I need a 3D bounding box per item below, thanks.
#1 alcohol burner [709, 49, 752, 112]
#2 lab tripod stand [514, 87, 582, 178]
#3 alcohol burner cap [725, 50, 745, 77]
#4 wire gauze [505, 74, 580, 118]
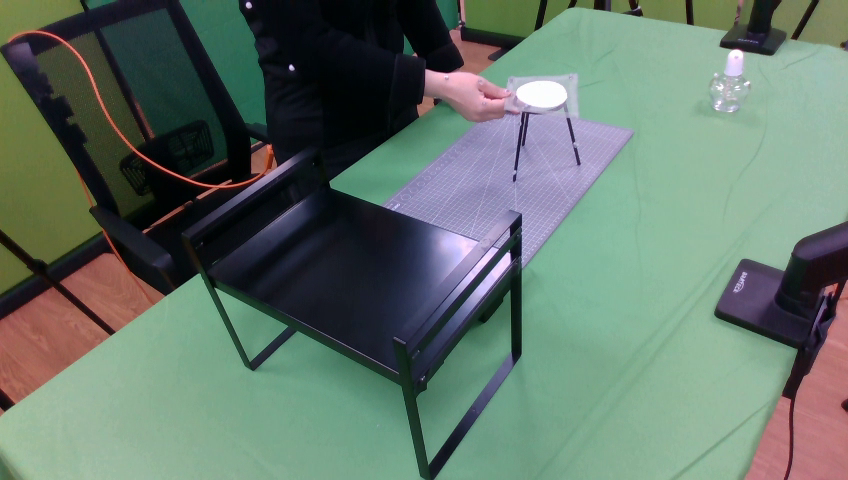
[{"bbox_3d":[0.600,-0.313,1.179,0.078,0.119,0.077,-6,40,5],"label":"alcohol burner"},{"bbox_3d":[0.212,-0.196,1.083,0.148,0.132,0.147,-3,39,3],"label":"lab tripod stand"},{"bbox_3d":[0.596,-0.340,1.154,0.034,0.048,0.033,-8,45,8],"label":"alcohol burner cap"},{"bbox_3d":[0.203,-0.249,1.029,0.125,0.011,0.121,5,46,9],"label":"wire gauze"}]
